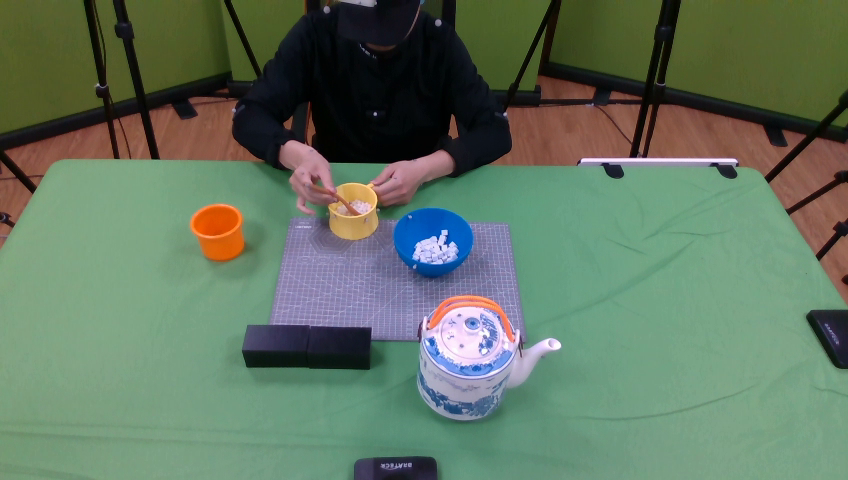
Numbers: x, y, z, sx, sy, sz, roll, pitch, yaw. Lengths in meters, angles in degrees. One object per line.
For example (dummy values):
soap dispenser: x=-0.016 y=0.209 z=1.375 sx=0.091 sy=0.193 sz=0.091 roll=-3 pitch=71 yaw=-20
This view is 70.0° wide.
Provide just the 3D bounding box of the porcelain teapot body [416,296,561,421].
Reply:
porcelain teapot body: x=0.094 y=0.164 z=0.907 sx=0.205 sy=0.226 sz=0.144 roll=6 pitch=45 yaw=1

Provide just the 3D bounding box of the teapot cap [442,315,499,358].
teapot cap: x=0.068 y=0.133 z=0.880 sx=0.085 sy=0.044 sz=0.084 roll=4 pitch=45 yaw=-4

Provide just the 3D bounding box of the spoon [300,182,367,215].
spoon: x=-0.169 y=-0.080 z=1.159 sx=0.041 sy=0.195 sz=0.021 roll=36 pitch=94 yaw=35

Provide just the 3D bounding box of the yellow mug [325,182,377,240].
yellow mug: x=-0.136 y=-0.068 z=1.216 sx=0.099 sy=0.064 sz=0.130 roll=24 pitch=51 yaw=18

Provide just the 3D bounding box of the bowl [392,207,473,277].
bowl: x=0.014 y=0.016 z=1.140 sx=0.151 sy=0.077 sz=0.150 roll=2 pitch=46 yaw=-2
